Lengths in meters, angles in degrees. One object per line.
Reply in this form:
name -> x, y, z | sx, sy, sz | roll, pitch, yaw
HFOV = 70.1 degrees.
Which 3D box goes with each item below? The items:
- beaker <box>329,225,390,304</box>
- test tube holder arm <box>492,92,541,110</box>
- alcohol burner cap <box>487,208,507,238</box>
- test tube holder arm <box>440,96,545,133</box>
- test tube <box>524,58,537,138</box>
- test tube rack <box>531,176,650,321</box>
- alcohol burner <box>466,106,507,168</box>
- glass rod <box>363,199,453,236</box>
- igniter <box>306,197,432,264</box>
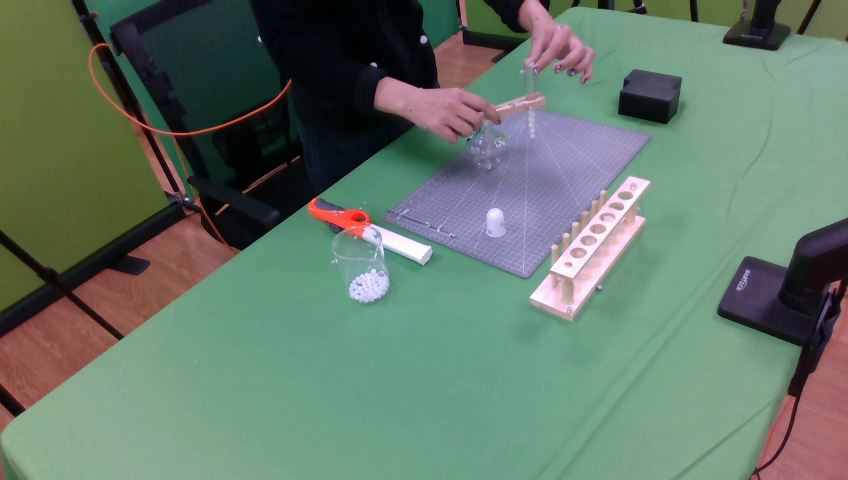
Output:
beaker -> -0.089, 0.040, 0.890 | 0.074, 0.101, 0.083 | -32, 46, -24
test tube holder arm -> 0.149, -0.217, 0.969 | 0.088, 0.015, 0.010 | -22, 42, -16
alcohol burner cap -> 0.116, -0.030, 0.975 | 0.034, 0.048, 0.033 | -6, 40, 5
test tube holder arm -> 0.109, -0.199, 0.956 | 0.179, 0.015, 0.013 | -18, 41, -11
test tube -> 0.172, -0.223, 0.970 | 0.017, 0.151, 0.017 | -6, 48, 8
test tube rack -> 0.246, 0.002, 0.884 | 0.066, 0.085, 0.243 | 22, 49, 32
alcohol burner -> 0.115, -0.193, 1.112 | 0.078, 0.119, 0.077 | -4, 41, 4
glass rod -> -0.031, -0.041, 1.041 | 0.198, 0.008, 0.008 | 22, 50, 31
igniter -> -0.102, -0.020, 1.019 | 0.274, 0.025, 0.057 | 23, 59, 32
